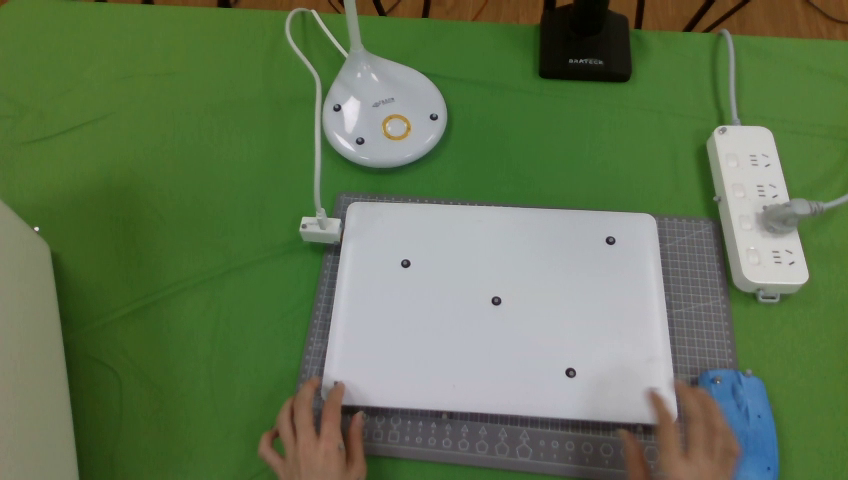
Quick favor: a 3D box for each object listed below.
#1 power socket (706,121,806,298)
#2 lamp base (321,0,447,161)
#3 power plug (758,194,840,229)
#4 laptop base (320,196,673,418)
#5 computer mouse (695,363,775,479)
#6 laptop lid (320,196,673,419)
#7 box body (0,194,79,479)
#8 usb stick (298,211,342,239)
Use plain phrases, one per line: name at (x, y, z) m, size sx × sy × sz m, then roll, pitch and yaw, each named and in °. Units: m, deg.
power socket at (0.376, -0.044, 0.694) m, size 0.072 × 0.033 × 0.225 m, roll 3°, pitch 63°, yaw 2°
lamp base at (-0.061, -0.212, 0.712) m, size 0.160 × 0.182 × 0.177 m, roll -31°, pitch 63°, yaw -14°
power plug at (0.403, -0.025, 0.658) m, size 0.072 × 0.053 × 0.035 m, roll 12°, pitch 63°, yaw 6°
laptop base at (0.077, 0.065, 0.656) m, size 0.354 × 0.023 × 0.234 m, roll 3°, pitch 67°, yaw 3°
computer mouse at (0.296, 0.173, 0.580) m, size 0.062 × 0.041 × 0.116 m, roll 7°, pitch 60°, yaw 8°
laptop lid at (0.076, 0.062, 0.644) m, size 0.356 × 0.013 × 0.240 m, roll 4°, pitch 66°, yaw 4°
box body at (-0.491, 0.135, 0.557) m, size 0.254 × 0.161 × 0.360 m, roll -20°, pitch 64°, yaw -9°
usb stick at (-0.111, -0.016, 0.689) m, size 0.059 × 0.027 × 0.021 m, roll 7°, pitch 58°, yaw 2°
